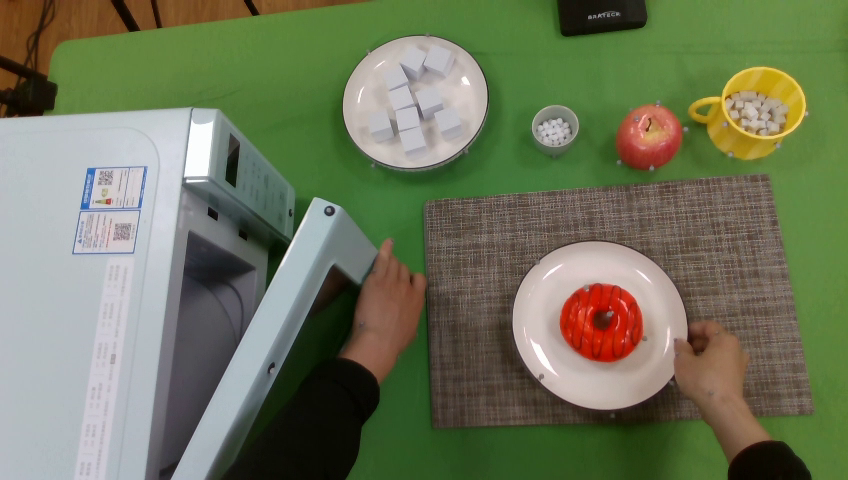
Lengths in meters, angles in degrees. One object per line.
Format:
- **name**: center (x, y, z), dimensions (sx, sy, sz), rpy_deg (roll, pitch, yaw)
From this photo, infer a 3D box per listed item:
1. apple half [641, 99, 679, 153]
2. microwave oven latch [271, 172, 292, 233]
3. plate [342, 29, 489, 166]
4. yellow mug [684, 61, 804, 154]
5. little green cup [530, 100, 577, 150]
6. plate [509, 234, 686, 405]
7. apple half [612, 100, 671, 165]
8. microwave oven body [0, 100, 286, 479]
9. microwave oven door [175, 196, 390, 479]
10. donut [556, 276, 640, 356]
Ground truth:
- **apple half**: center (0.308, -0.151, 0.784), dimensions (0.033, 0.082, 0.081), rpy_deg (-31, 73, 3)
- **microwave oven latch**: center (-0.197, -0.051, 0.822), dimensions (0.030, 0.029, 0.079), rpy_deg (2, 76, 7)
- **plate**: center (-0.011, -0.198, 0.856), dimensions (0.207, 0.039, 0.206), rpy_deg (-2, 75, 7)
- **yellow mug**: center (0.405, -0.170, 0.781), dimensions (0.130, 0.064, 0.099), rpy_deg (6, 76, 10)
- **little green cup**: center (0.174, -0.153, 0.821), dimensions (0.061, 0.039, 0.061), rpy_deg (-2, 75, 7)
- **plate**: center (0.209, 0.096, 0.744), dimensions (0.209, 0.038, 0.208), rpy_deg (-2, 74, 8)
- **apple half**: center (0.274, -0.131, 0.784), dimensions (0.053, 0.075, 0.080), rpy_deg (-30, 77, 3)
- **microwave oven body**: center (-0.359, 0.098, 0.704), dimensions (0.326, 0.261, 0.439), rpy_deg (-1, 76, 7)
- **microwave oven door**: center (-0.148, 0.147, 0.659), dimensions (0.039, 0.245, 0.355), rpy_deg (22, 79, 14)
- **donut**: center (0.210, 0.092, 0.733), dimensions (0.099, 0.048, 0.098), rpy_deg (-2, 75, 8)
